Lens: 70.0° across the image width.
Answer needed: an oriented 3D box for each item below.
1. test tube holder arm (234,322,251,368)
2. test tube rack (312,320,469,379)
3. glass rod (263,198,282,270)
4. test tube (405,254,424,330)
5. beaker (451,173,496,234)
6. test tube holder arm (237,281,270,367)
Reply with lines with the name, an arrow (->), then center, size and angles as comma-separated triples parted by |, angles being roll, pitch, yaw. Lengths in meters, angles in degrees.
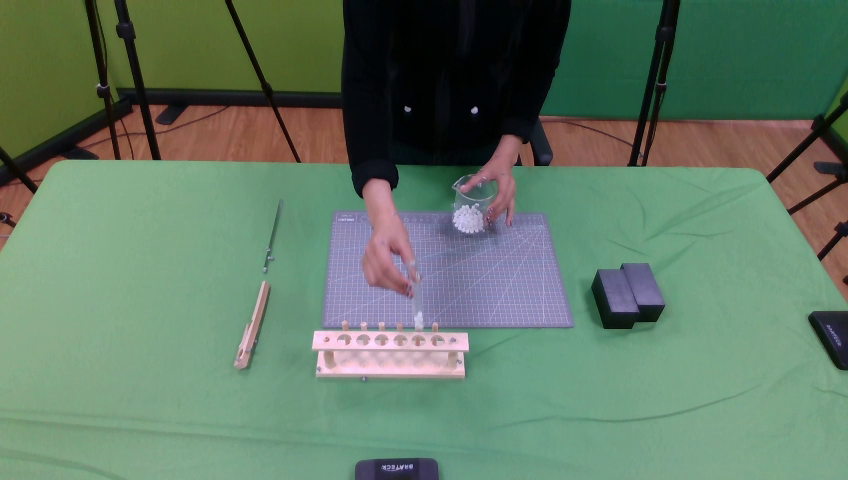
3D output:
test tube holder arm -> -0.299, 0.174, 1.013 | 0.010, 0.015, 0.087 | -18, 40, 23
test tube rack -> -0.053, 0.173, 0.984 | 0.242, 0.085, 0.066 | 1, 46, -3
glass rod -> -0.299, -0.017, 1.202 | 0.008, 0.008, 0.198 | 1, 46, -2
test tube -> -0.013, 0.079, 0.883 | 0.017, 0.151, 0.017 | -3, 41, 3
beaker -> 0.091, -0.068, 1.178 | 0.084, 0.101, 0.073 | 7, 46, -1
test tube holder arm -> -0.291, 0.140, 1.042 | 0.013, 0.015, 0.177 | -19, 40, 22
